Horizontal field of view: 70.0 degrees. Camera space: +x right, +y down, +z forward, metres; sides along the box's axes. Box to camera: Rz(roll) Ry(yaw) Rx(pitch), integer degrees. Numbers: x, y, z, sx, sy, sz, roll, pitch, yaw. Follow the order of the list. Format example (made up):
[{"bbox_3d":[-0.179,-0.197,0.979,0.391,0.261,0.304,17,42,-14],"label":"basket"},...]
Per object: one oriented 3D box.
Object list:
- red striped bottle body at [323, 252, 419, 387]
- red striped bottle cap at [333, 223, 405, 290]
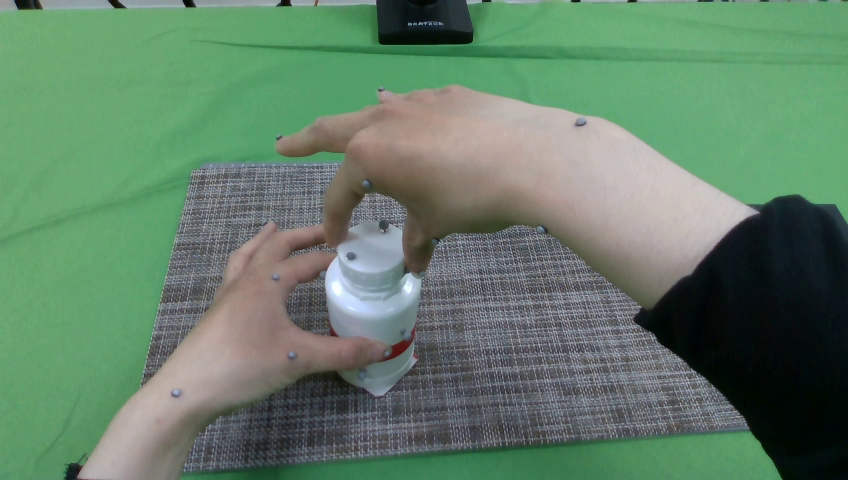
[{"bbox_3d":[-0.037,0.047,0.417,0.063,0.120,0.062,3,49,-4],"label":"red striped bottle body"},{"bbox_3d":[-0.034,0.009,0.373,0.044,0.018,0.044,2,43,-1],"label":"red striped bottle cap"}]
